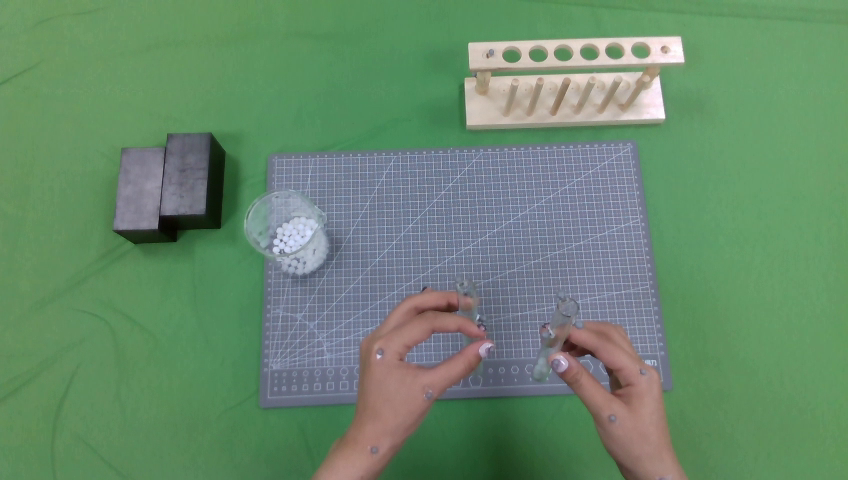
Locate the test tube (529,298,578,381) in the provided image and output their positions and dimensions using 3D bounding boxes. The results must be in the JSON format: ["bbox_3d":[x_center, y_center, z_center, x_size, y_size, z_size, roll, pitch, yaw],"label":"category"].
[{"bbox_3d":[0.100,0.084,0.482,0.017,0.151,0.017,0,59,1],"label":"test tube"}]

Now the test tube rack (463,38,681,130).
[{"bbox_3d":[0.170,-0.184,0.722,0.242,0.085,0.066,-2,74,0],"label":"test tube rack"}]

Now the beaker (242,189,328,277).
[{"bbox_3d":[-0.143,-0.004,0.659,0.084,0.101,0.073,-10,74,-3],"label":"beaker"}]

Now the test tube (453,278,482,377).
[{"bbox_3d":[0.038,0.079,0.513,0.017,0.152,0.017,-4,52,6],"label":"test tube"}]
